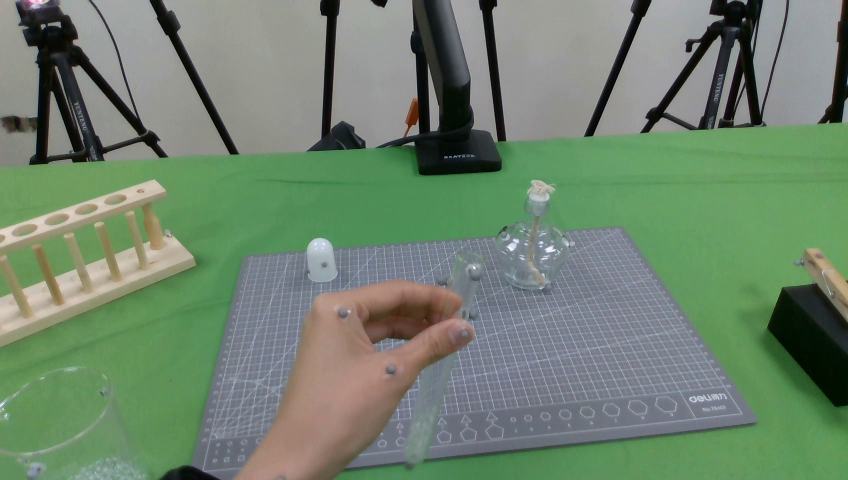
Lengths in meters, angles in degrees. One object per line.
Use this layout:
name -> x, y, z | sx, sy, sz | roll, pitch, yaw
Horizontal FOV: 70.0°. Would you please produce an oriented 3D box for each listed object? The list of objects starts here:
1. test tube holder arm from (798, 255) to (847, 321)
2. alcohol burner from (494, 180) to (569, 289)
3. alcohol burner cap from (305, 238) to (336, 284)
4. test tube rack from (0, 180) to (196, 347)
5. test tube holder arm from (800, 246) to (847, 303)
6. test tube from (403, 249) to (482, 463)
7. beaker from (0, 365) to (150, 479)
test tube holder arm -> 0.365, 0.064, 0.511 | 0.015, 0.013, 0.177 | 1, 34, 3
alcohol burner -> 0.112, -0.009, 0.622 | 0.078, 0.120, 0.077 | 1, 34, 0
alcohol burner cap -> -0.113, 0.020, 0.650 | 0.034, 0.048, 0.033 | -1, 34, 1
test tube rack -> -0.370, 0.026, 0.615 | 0.242, 0.086, 0.066 | -26, 42, -32
test tube holder arm -> 0.367, 0.034, 0.545 | 0.015, 0.010, 0.087 | 1, 35, 3
test tube -> 0.009, 0.073, 0.351 | 0.017, 0.151, 0.017 | 11, 26, -5
beaker -> -0.241, 0.149, 0.418 | 0.084, 0.101, 0.073 | 0, 34, 3
